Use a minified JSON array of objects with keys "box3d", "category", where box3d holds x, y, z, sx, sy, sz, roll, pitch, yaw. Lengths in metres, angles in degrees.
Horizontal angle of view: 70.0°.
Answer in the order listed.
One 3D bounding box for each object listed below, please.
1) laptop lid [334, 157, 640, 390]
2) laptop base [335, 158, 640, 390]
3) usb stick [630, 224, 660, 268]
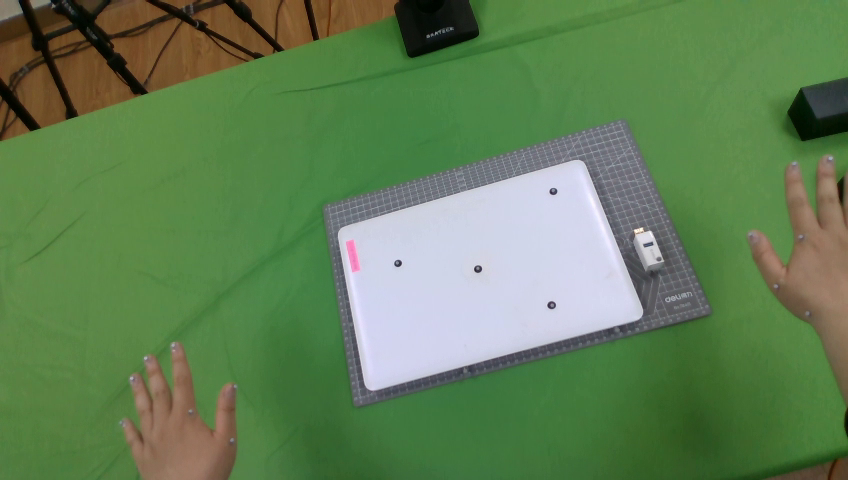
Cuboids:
[{"box3d":[0.068,0.036,0.780,0.356,0.013,0.239,-15,66,4],"category":"laptop lid"},{"box3d":[0.069,0.039,0.791,0.354,0.023,0.233,-16,67,3],"category":"laptop base"},{"box3d":[0.275,0.004,0.760,0.021,0.027,0.058,-18,61,8],"category":"usb stick"}]
